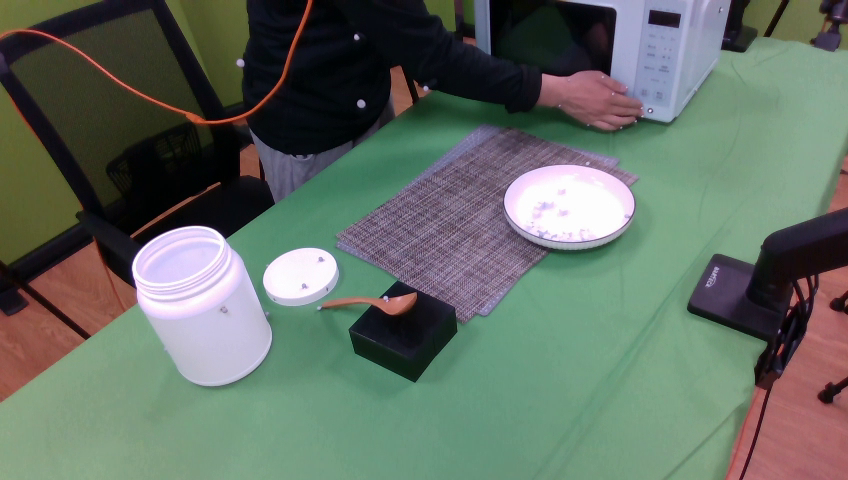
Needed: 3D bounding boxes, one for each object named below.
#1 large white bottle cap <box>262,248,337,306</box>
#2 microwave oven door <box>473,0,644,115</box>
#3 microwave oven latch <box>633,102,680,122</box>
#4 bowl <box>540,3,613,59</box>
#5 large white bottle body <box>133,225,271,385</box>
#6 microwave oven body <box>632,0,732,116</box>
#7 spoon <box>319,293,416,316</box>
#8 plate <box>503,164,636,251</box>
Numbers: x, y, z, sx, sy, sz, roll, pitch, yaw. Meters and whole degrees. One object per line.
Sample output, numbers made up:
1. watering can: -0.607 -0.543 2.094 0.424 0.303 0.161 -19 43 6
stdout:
1. large white bottle cap: -0.192 0.056 0.934 0.115 0.018 0.114 -5 41 4
2. microwave oven door: 0.257 -0.396 1.199 0.353 0.245 0.039 21 48 29
3. microwave oven latch: 0.444 -0.250 1.158 0.078 0.029 0.030 21 49 30
4. bowl: 0.324 -0.442 1.298 0.151 0.077 0.150 -3 41 4
5. large white bottle body: -0.285 0.084 0.784 0.130 0.185 0.130 -4 41 4
6. microwave oven body: 0.377 -0.463 1.267 0.438 0.261 0.327 21 49 30
7. spoon: -0.082 0.086 0.827 0.192 0.022 0.041 -3 37 41
8. plate: 0.232 -0.051 0.977 0.209 0.038 0.208 -3 41 3
